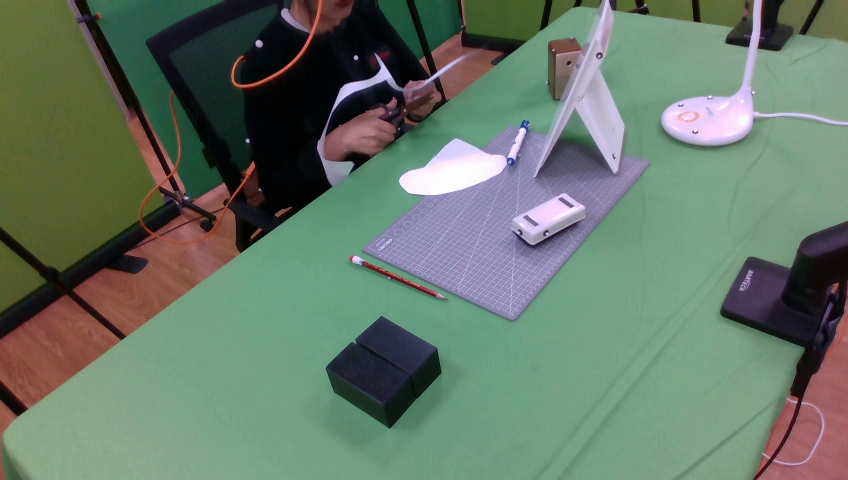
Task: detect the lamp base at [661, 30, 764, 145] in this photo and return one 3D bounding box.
[{"bbox_3d":[0.535,-0.287,1.096,0.179,0.181,0.159,-10,40,-4],"label":"lamp base"}]

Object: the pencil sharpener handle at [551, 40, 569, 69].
[{"bbox_3d":[0.291,-0.409,1.320,0.036,0.068,0.030,2,40,-6],"label":"pencil sharpener handle"}]

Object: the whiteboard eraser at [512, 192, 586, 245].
[{"bbox_3d":[0.199,-0.032,0.962,0.113,0.042,0.055,-27,43,-20],"label":"whiteboard eraser"}]

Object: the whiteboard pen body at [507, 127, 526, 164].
[{"bbox_3d":[0.181,-0.189,1.162,0.017,0.017,0.140,7,42,19],"label":"whiteboard pen body"}]

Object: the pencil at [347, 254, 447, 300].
[{"bbox_3d":[-0.044,0.058,0.933,0.192,0.012,0.012,22,49,29],"label":"pencil"}]

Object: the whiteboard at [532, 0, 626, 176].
[{"bbox_3d":[0.320,-0.258,1.050,0.144,0.306,0.217,21,45,5],"label":"whiteboard"}]

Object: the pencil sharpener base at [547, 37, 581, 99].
[{"bbox_3d":[0.299,-0.368,1.290,0.061,0.107,0.076,-8,40,2],"label":"pencil sharpener base"}]

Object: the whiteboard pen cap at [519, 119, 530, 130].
[{"bbox_3d":[0.199,-0.226,1.204,0.018,0.018,0.033,7,41,18],"label":"whiteboard pen cap"}]

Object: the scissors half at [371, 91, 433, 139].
[{"bbox_3d":[-0.043,-0.248,1.200,0.174,0.040,0.013,-31,-9,37],"label":"scissors half"}]

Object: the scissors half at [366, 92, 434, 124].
[{"bbox_3d":[-0.050,-0.267,1.200,0.174,0.040,0.013,-8,10,37],"label":"scissors half"}]
